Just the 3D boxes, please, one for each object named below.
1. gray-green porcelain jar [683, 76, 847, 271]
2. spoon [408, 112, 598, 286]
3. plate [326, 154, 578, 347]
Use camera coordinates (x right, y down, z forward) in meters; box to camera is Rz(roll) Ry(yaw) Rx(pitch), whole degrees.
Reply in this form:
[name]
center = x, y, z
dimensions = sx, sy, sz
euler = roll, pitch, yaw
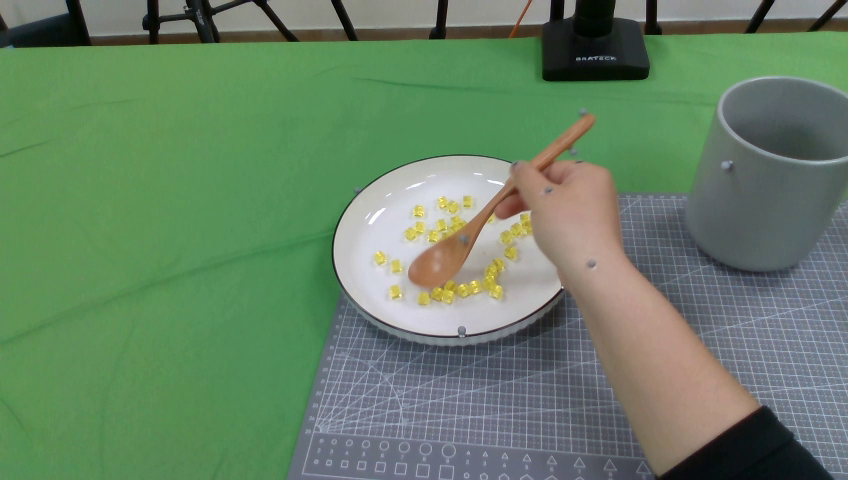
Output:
[gray-green porcelain jar]
center = 0.268, -0.046, 0.477
dimensions = 0.106, 0.128, 0.105
euler = -3, 48, 4
[spoon]
center = 0.061, -0.031, 0.476
dimensions = 0.194, 0.022, 0.041
euler = -45, 42, 13
[plate]
center = 0.023, 0.007, 0.516
dimensions = 0.207, 0.039, 0.205
euler = -3, 48, 3
